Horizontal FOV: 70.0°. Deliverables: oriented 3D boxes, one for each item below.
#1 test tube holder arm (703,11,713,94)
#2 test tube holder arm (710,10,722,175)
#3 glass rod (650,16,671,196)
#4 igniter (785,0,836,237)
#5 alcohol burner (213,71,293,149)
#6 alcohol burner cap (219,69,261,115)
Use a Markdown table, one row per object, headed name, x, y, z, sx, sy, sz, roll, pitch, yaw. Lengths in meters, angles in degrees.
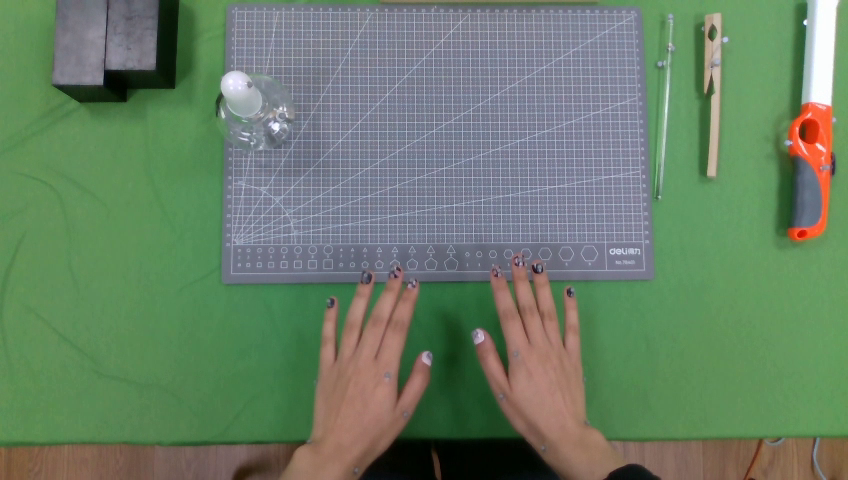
| name | x | y | z | sx | sy | sz | roll | pitch | yaw |
| --- | --- | --- | --- | --- | --- | --- | --- | --- | --- |
| test tube holder arm | 0.310 | -0.204 | 0.659 | 0.010 | 0.015 | 0.087 | -2 | 84 | 35 |
| test tube holder arm | 0.314 | -0.159 | 0.652 | 0.013 | 0.015 | 0.178 | -3 | 83 | 35 |
| glass rod | 0.256 | -0.145 | 0.655 | 0.008 | 0.008 | 0.199 | 6 | 87 | -2 |
| igniter | 0.418 | -0.138 | 0.651 | 0.057 | 0.025 | 0.276 | 9 | 85 | -11 |
| alcohol burner | -0.169 | -0.130 | 0.582 | 0.078 | 0.119 | 0.077 | 0 | 83 | 0 |
| alcohol burner cap | -0.168 | -0.136 | 0.546 | 0.034 | 0.048 | 0.033 | 1 | 81 | -6 |
